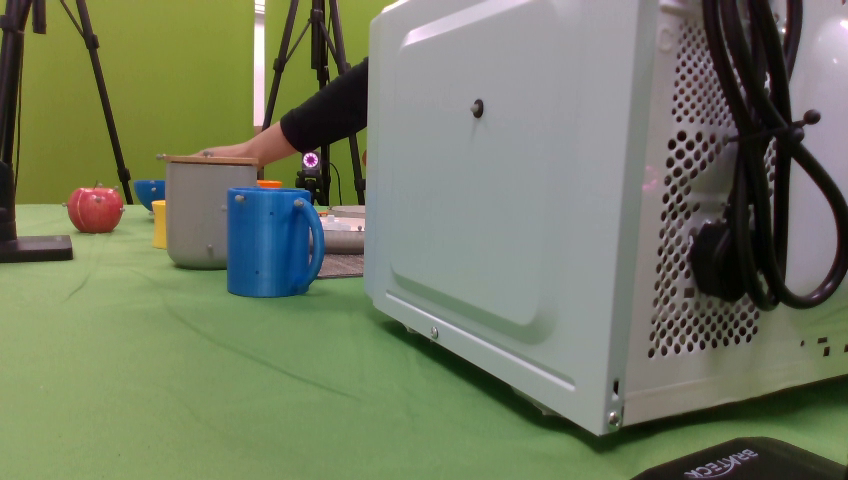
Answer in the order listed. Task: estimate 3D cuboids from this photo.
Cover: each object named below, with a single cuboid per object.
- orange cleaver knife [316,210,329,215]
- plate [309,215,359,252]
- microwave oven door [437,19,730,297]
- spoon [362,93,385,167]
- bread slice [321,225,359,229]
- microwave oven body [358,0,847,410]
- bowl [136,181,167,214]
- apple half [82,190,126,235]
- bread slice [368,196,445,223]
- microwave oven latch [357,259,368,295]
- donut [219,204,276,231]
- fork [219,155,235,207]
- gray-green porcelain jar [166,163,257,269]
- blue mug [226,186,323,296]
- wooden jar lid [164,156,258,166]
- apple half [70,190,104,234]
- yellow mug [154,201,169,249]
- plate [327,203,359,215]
[{"bbox_3d":[-0.259,-0.064,1.423,0.212,0.012,0.077,-4,3,-30],"label":"orange cleaver knife"},{"bbox_3d":[-0.130,-0.011,0.945,0.208,0.039,0.207,2,8,0],"label":"plate"},{"bbox_3d":[0.180,-0.076,0.618,0.358,0.243,0.039,-2,9,-28],"label":"microwave oven door"},{"bbox_3d":[-0.107,-0.253,1.378,0.042,0.193,0.021,17,-18,-19],"label":"spoon"},{"bbox_3d":[-0.125,-0.009,0.938,0.131,0.019,0.105,6,8,32],"label":"bread slice"},{"bbox_3d":[0.210,-0.051,0.471,0.444,0.260,0.324,-1,7,-28],"label":"microwave oven body"},{"bbox_3d":[-0.497,-0.076,1.221,0.151,0.077,0.151,2,8,0],"label":"bowl"},{"bbox_3d":[-0.516,-0.046,0.994,0.032,0.081,0.081,0,6,26],"label":"apple half"},{"bbox_3d":[-0.040,-0.057,1.142,0.107,0.018,0.133,-8,-8,-39],"label":"bread slice"},{"bbox_3d":[-0.019,0.031,0.529,0.079,0.029,0.030,-1,7,-26],"label":"microwave oven latch"},{"bbox_3d":[-0.316,-0.039,1.083,0.099,0.048,0.099,4,7,0],"label":"donut"},{"bbox_3d":[-0.459,-0.134,1.415,0.028,0.018,0.207,-1,-34,-24],"label":"fork"},{"bbox_3d":[-0.263,-0.031,0.754,0.106,0.126,0.106,2,7,0],"label":"gray-green porcelain jar"},{"bbox_3d":[-0.148,0.000,0.618,0.116,0.106,0.083,7,9,33],"label":"blue mug"},{"bbox_3d":[-0.261,-0.093,0.746,0.108,0.020,0.108,1,9,0],"label":"wooden jar lid"},{"bbox_3d":[-0.552,-0.048,1.010,0.053,0.074,0.081,-1,9,26],"label":"apple half"},{"bbox_3d":[-0.337,-0.022,0.899,0.130,0.064,0.100,8,9,34],"label":"yellow mug"},{"bbox_3d":[-0.102,-0.053,1.299,0.209,0.038,0.209,2,8,0],"label":"plate"}]
